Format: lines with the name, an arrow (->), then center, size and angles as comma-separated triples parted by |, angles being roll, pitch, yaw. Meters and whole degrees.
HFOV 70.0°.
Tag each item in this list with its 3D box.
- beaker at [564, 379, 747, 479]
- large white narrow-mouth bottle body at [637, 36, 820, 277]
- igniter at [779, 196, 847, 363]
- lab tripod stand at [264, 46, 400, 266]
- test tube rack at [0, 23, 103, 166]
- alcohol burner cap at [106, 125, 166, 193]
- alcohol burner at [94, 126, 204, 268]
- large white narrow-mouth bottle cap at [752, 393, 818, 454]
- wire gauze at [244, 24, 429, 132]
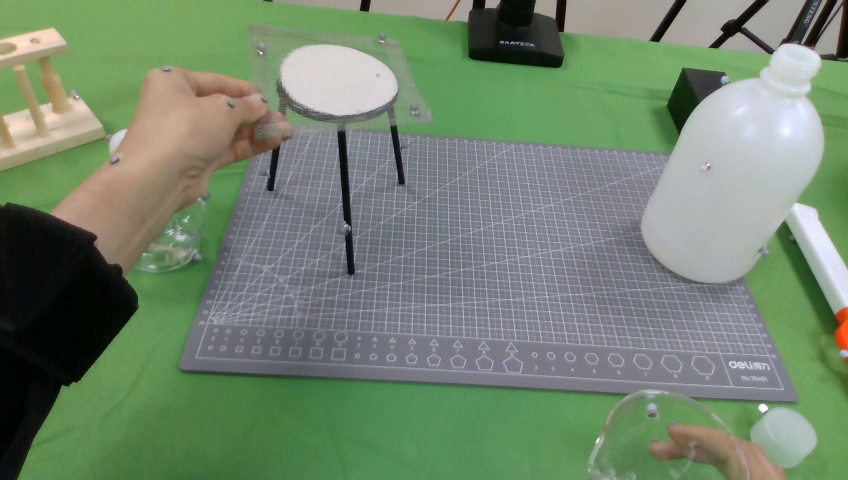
beaker -> 0.119, 0.138, 0.342 | 0.084, 0.101, 0.073 | -4, 47, -10
large white narrow-mouth bottle body -> 0.248, -0.066, 0.483 | 0.102, 0.196, 0.101 | 3, 46, -3
igniter -> 0.350, 0.063, 0.494 | 0.057, 0.025, 0.274 | 13, 45, -9
lab tripod stand -> -0.070, -0.074, 0.493 | 0.148, 0.132, 0.147 | 5, 47, -5
test tube rack -> -0.420, -0.101, 0.511 | 0.242, 0.086, 0.066 | -29, 56, -30
alcohol burner cap -> -0.206, -0.059, 0.429 | 0.034, 0.048, 0.033 | 2, 52, -2
alcohol burner -> -0.209, -0.036, 0.456 | 0.078, 0.120, 0.077 | 5, 44, -4
large white narrow-mouth bottle cap -> 0.251, 0.128, 0.423 | 0.038, 0.024, 0.037 | 3, 46, -3
wire gauze -> -0.067, -0.123, 0.444 | 0.122, 0.011, 0.123 | -4, 50, -16
